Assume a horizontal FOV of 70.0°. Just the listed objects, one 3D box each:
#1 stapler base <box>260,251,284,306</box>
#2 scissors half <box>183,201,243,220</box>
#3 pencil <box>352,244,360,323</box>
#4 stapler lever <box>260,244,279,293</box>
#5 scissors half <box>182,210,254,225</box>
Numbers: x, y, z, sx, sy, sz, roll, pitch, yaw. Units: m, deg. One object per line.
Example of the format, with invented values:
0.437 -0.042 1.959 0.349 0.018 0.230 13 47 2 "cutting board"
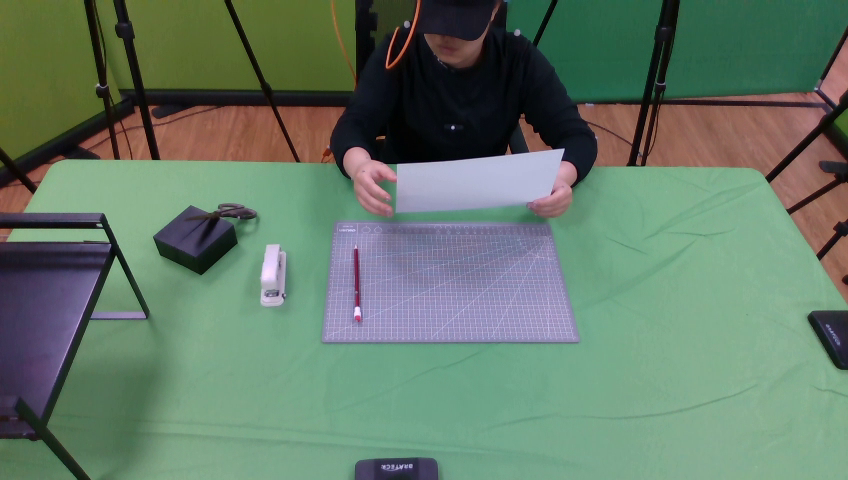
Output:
-0.280 0.064 1.113 0.041 0.024 0.129 -2 44 -9 "stapler base"
-0.405 -0.054 1.163 0.040 0.013 0.175 30 18 7 "scissors half"
-0.127 0.075 1.120 0.012 0.012 0.192 -3 44 -7 "pencil"
-0.279 0.045 1.096 0.027 0.040 0.117 -2 44 -9 "stapler lever"
-0.390 -0.042 1.158 0.040 0.013 0.175 42 21 22 "scissors half"
